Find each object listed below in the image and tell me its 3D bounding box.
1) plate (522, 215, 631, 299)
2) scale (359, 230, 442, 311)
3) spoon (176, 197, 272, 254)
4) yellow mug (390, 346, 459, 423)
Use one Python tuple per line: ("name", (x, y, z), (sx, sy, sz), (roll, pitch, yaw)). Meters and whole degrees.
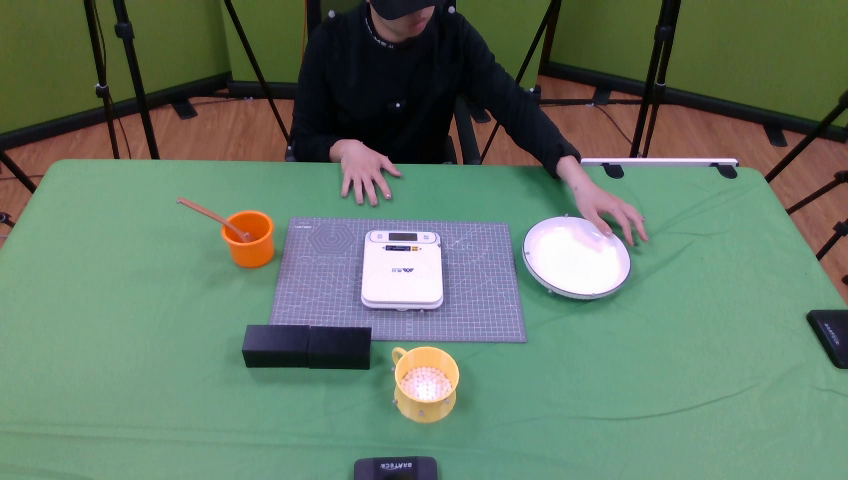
("plate", (0.292, 0.036, 1.175), (0.209, 0.038, 0.208), (2, 46, -2))
("scale", (-0.043, 0.048, 1.138), (0.149, 0.032, 0.199), (2, 46, -3))
("spoon", (-0.362, -0.028, 1.108), (0.021, 0.195, 0.041), (-35, 36, 24))
("yellow mug", (-0.009, 0.217, 0.958), (0.100, 0.064, 0.130), (-33, 56, -31))
